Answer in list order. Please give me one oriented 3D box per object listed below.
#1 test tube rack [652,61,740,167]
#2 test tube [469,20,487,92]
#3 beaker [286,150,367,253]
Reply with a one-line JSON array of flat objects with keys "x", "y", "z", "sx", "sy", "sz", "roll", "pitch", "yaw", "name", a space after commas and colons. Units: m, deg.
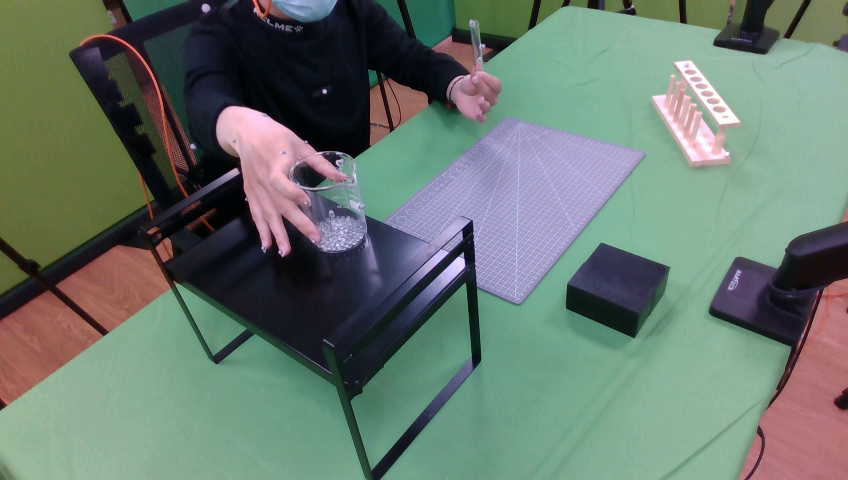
[{"x": 0.499, "y": -0.242, "z": 1.130, "sx": 0.067, "sy": 0.085, "sz": 0.241, "roll": -5, "pitch": 41, "yaw": 3, "name": "test tube rack"}, {"x": 0.094, "y": -0.311, "z": 1.036, "sx": 0.017, "sy": 0.151, "sz": 0.017, "roll": -5, "pitch": 58, "yaw": 9, "name": "test tube"}, {"x": -0.105, "y": -0.041, "z": 0.697, "sx": 0.083, "sy": 0.101, "sz": 0.074, "roll": 18, "pitch": 47, "yaw": 25, "name": "beaker"}]
